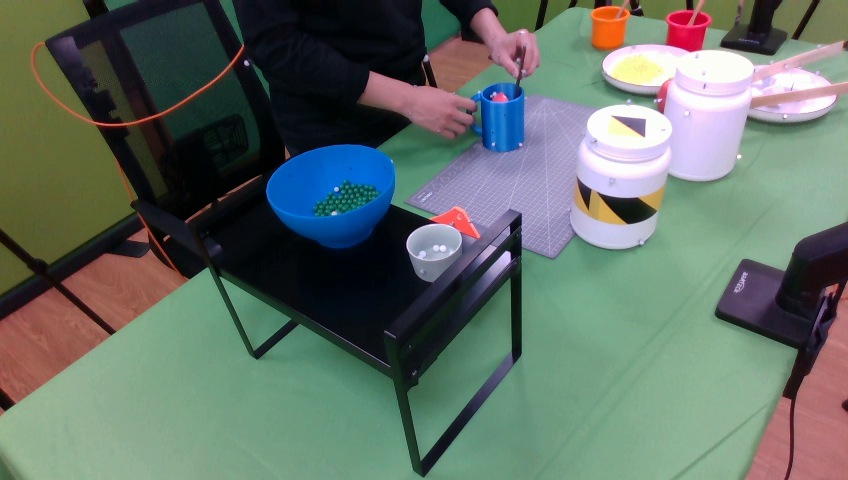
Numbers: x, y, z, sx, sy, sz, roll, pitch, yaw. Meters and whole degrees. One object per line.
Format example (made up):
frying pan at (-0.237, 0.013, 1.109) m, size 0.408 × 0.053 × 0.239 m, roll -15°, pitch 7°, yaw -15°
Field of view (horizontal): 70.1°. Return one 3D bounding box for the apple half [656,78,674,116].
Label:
apple half at (0.488, -0.281, 1.192) m, size 0.053 × 0.075 × 0.081 m, roll 24°, pitch 54°, yaw 37°

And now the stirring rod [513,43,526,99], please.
stirring rod at (0.174, -0.287, 1.132) m, size 0.006 × 0.176 × 0.014 m, roll -2°, pitch 48°, yaw -4°

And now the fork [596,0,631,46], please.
fork at (0.481, -0.555, 1.452) m, size 0.028 × 0.019 × 0.207 m, roll 41°, pitch 104°, yaw 40°

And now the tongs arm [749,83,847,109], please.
tongs arm at (0.734, -0.280, 1.133) m, size 0.388 × 0.028 × 0.028 m, roll -9°, pitch 47°, yaw -5°

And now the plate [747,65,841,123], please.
plate at (0.694, -0.282, 1.189) m, size 0.207 × 0.039 × 0.206 m, roll -4°, pitch 40°, yaw 4°

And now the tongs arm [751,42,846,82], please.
tongs arm at (0.708, -0.331, 1.193) m, size 0.386 × 0.026 × 0.050 m, roll -18°, pitch 45°, yaw -16°

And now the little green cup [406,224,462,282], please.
little green cup at (0.012, 0.015, 0.668) m, size 0.061 × 0.039 × 0.061 m, roll -4°, pitch 40°, yaw 4°

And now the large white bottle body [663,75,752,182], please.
large white bottle body at (0.472, -0.207, 1.022) m, size 0.130 × 0.185 × 0.130 m, roll -4°, pitch 41°, yaw 4°

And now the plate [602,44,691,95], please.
plate at (0.494, -0.366, 1.317) m, size 0.209 × 0.038 × 0.208 m, roll -4°, pitch 40°, yaw 4°

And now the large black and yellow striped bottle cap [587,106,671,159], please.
large black and yellow striped bottle cap at (0.290, -0.154, 0.858) m, size 0.115 × 0.019 × 0.114 m, roll -4°, pitch 42°, yaw 4°

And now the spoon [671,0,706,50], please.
spoon at (0.629, -0.520, 1.394) m, size 0.041 × 0.022 × 0.193 m, roll 30°, pitch 96°, yaw 34°

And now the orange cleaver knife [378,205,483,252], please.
orange cleaver knife at (0.005, -0.010, 0.944) m, size 0.210 × 0.077 × 0.012 m, roll -5°, pitch 23°, yaw 47°

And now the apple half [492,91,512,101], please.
apple half at (0.144, -0.241, 1.154) m, size 0.033 × 0.081 × 0.080 m, roll -13°, pitch 40°, yaw -21°

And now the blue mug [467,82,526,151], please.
blue mug at (0.139, -0.241, 1.169) m, size 0.116 × 0.106 × 0.082 m, roll 11°, pitch 44°, yaw 21°

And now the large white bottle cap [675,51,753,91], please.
large white bottle cap at (0.463, -0.271, 0.967) m, size 0.115 × 0.018 × 0.114 m, roll -4°, pitch 40°, yaw 3°

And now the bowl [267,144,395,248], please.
bowl at (-0.104, -0.043, 0.726) m, size 0.151 × 0.077 × 0.150 m, roll -4°, pitch 40°, yaw 4°

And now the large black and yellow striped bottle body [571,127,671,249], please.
large black and yellow striped bottle body at (0.296, -0.093, 0.915) m, size 0.131 × 0.185 × 0.130 m, roll -3°, pitch 42°, yaw 3°
